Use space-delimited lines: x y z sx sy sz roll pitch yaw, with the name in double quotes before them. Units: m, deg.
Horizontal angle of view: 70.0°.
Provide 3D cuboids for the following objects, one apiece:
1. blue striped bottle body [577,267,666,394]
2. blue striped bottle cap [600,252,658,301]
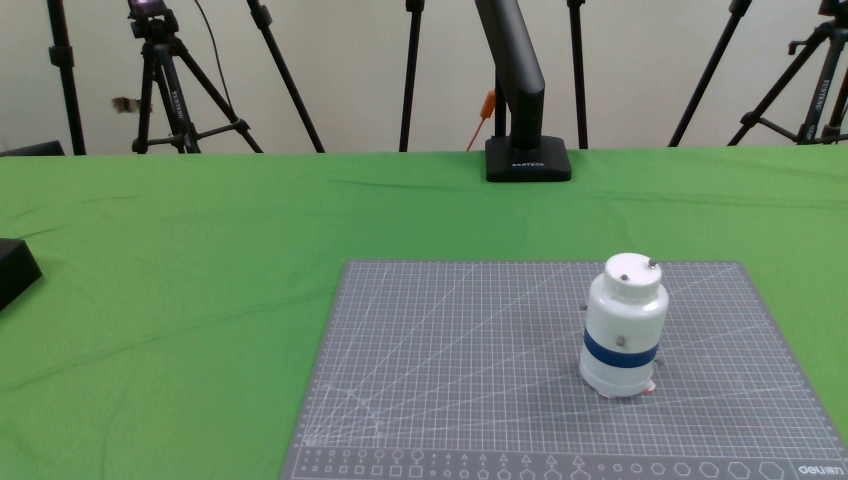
"blue striped bottle body" 0.169 0.070 0.521 0.063 0.122 0.062 -2 36 2
"blue striped bottle cap" 0.166 0.029 0.492 0.044 0.021 0.044 -1 36 1
